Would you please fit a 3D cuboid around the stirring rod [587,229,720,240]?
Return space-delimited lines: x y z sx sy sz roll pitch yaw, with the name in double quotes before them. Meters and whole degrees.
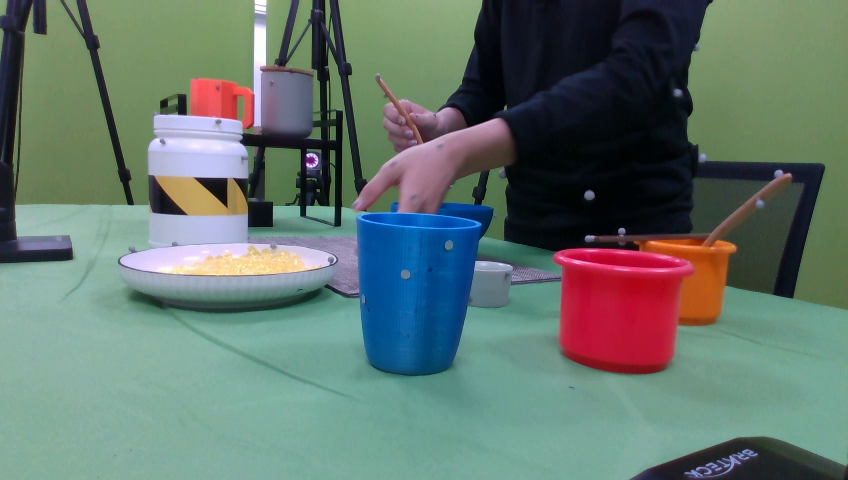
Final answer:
"stirring rod" 0.226 -0.006 0.587 0.177 0.006 0.014 -2 11 -29

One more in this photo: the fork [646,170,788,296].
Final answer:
"fork" 0.256 0.004 0.543 0.028 0.018 0.207 2 -36 -10

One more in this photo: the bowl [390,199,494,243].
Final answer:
"bowl" 0.023 -0.016 0.874 0.151 0.077 0.151 3 7 0

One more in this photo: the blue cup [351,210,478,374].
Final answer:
"blue cup" -0.009 0.034 0.414 0.093 0.100 0.092 4 8 0

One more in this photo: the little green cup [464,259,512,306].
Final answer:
"little green cup" 0.057 0.043 0.611 0.061 0.038 0.061 3 8 0

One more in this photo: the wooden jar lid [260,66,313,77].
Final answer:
"wooden jar lid" -0.283 -0.339 1.244 0.108 0.020 0.108 6 8 -1

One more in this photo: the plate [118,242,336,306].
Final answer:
"plate" -0.194 0.033 0.615 0.209 0.038 0.209 2 7 0

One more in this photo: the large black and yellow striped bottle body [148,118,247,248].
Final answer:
"large black and yellow striped bottle body" -0.318 -0.076 0.855 0.131 0.184 0.130 2 7 0

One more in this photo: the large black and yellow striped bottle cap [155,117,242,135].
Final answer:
"large black and yellow striped bottle cap" -0.313 -0.159 0.845 0.115 0.019 0.115 3 9 0

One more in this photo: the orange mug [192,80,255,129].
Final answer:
"orange mug" -0.389 -0.257 1.172 0.126 0.100 0.083 -1 6 9

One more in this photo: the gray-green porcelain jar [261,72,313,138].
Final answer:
"gray-green porcelain jar" -0.284 -0.276 1.253 0.106 0.126 0.106 2 8 0

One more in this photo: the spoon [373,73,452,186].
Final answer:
"spoon" -0.016 -0.159 0.877 0.021 0.194 0.041 -29 10 9
